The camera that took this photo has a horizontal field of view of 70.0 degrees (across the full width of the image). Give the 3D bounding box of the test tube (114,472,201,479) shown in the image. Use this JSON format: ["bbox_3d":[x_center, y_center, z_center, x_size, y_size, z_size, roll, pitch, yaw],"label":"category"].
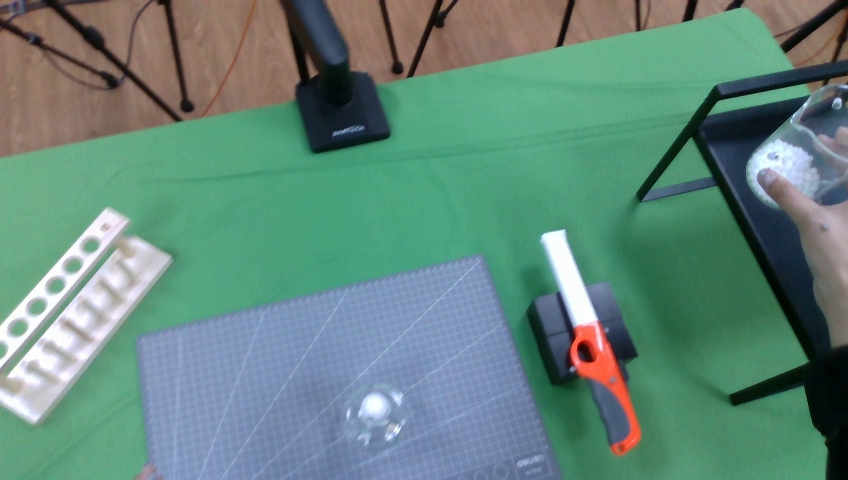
[{"bbox_3d":[-0.208,0.193,0.482,0.017,0.151,0.017,0,69,-1],"label":"test tube"}]

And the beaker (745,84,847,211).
[{"bbox_3d":[0.334,-0.074,0.525,0.084,0.101,0.073,4,68,-1],"label":"beaker"}]

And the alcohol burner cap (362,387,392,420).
[{"bbox_3d":[-0.050,0.171,0.638,0.034,0.048,0.033,1,69,-2],"label":"alcohol burner cap"}]

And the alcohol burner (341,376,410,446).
[{"bbox_3d":[-0.053,0.185,0.670,0.078,0.120,0.077,2,63,-4],"label":"alcohol burner"}]

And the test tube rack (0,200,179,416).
[{"bbox_3d":[-0.405,0.077,0.711,0.066,0.086,0.241,29,67,9],"label":"test tube rack"}]

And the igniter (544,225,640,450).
[{"bbox_3d":[0.197,0.107,0.722,0.057,0.025,0.274,-10,65,-7],"label":"igniter"}]
